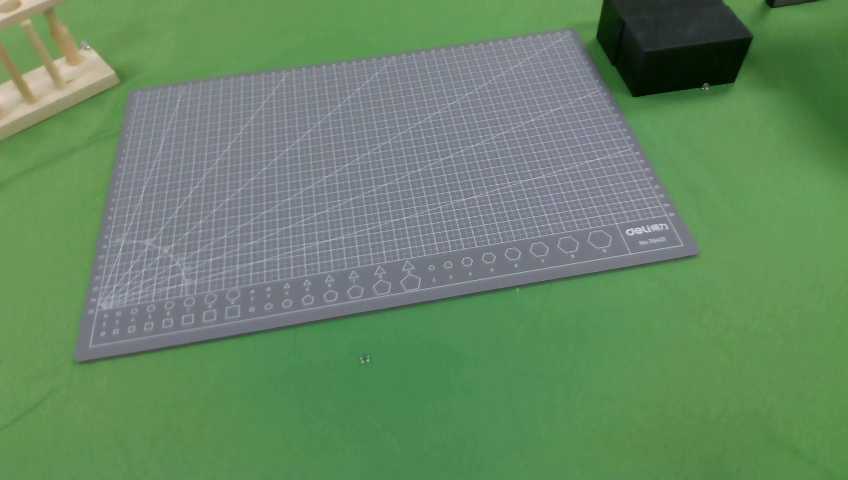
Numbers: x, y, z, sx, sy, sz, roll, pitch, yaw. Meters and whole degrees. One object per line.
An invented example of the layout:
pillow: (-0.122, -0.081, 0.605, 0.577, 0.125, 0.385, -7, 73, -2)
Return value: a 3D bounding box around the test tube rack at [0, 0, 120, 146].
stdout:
test tube rack: (-0.418, -0.130, 0.543, 0.242, 0.086, 0.066, -36, 58, -23)
